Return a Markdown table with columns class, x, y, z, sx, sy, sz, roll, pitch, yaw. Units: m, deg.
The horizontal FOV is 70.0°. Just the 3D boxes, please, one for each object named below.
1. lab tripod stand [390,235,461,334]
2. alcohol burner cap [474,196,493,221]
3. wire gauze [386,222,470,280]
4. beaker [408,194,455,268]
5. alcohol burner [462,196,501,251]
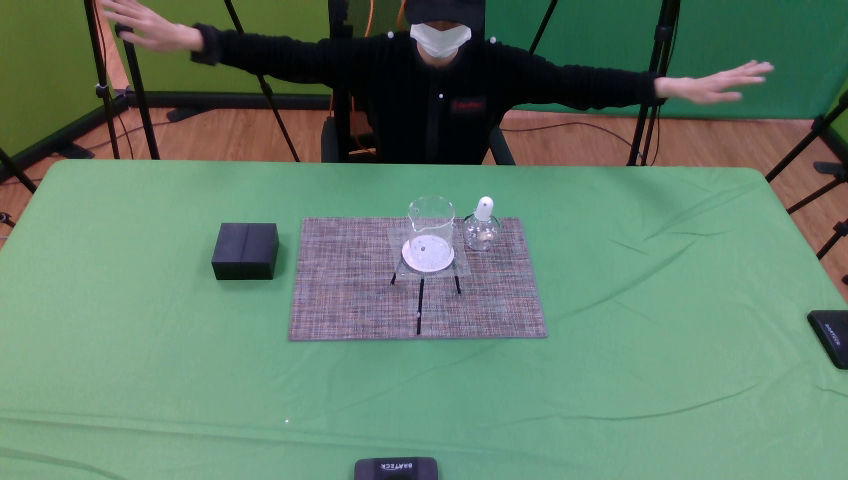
| class | x | y | z | sx | sy | sz | roll | pitch | yaw |
| --- | --- | --- | --- | --- | --- | --- | --- | --- | --- |
| lab tripod stand | -0.002 | 0.067 | 1.050 | 0.148 | 0.132 | 0.147 | 1 | 47 | -1 |
| alcohol burner cap | 0.116 | -0.062 | 1.147 | 0.034 | 0.048 | 0.033 | 6 | 48 | -6 |
| wire gauze | 0.005 | 0.018 | 1.006 | 0.125 | 0.011 | 0.120 | -7 | 45 | -5 |
| beaker | 0.009 | -0.010 | 0.965 | 0.074 | 0.101 | 0.084 | 23 | 50 | 20 |
| alcohol burner | 0.112 | -0.037 | 1.173 | 0.078 | 0.120 | 0.077 | 1 | 45 | -1 |
